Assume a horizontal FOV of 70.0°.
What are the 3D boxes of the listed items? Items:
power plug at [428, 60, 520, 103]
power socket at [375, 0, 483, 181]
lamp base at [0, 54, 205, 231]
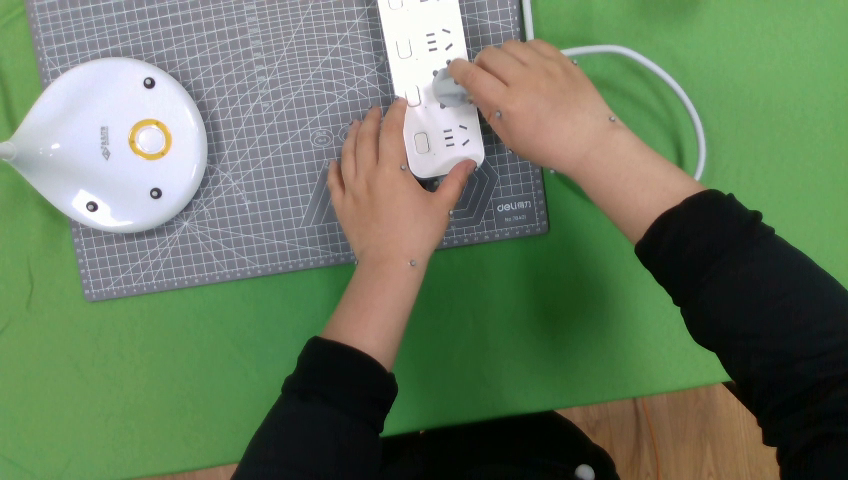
[{"bbox_3d":[0.040,-0.135,0.519,0.073,0.052,0.035,1,100,-8],"label":"power plug"},{"bbox_3d":[0.001,-0.167,0.546,0.072,0.032,0.227,-11,96,0],"label":"power socket"},{"bbox_3d":[-0.294,-0.079,0.480,0.179,0.180,0.161,-14,95,4],"label":"lamp base"}]
